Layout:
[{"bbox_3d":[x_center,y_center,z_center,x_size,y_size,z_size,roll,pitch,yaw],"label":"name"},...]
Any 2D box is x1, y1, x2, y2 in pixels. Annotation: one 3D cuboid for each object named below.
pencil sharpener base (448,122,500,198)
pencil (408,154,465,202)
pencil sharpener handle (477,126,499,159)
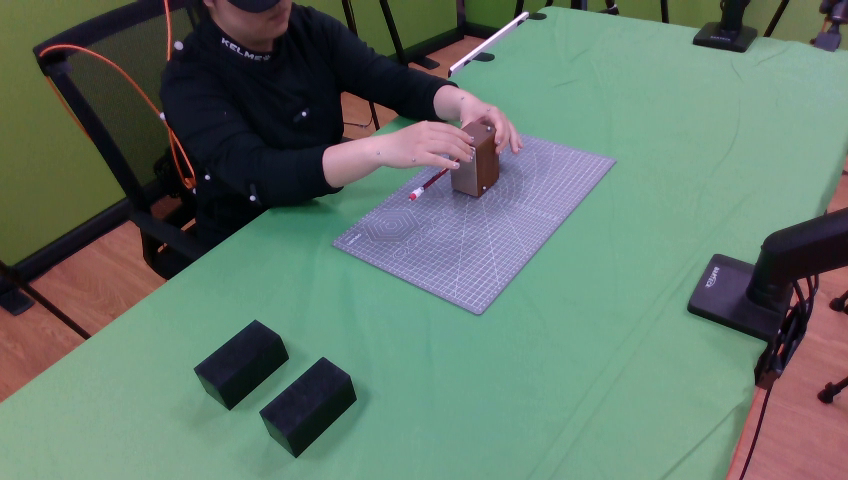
[{"bbox_3d":[0.089,-0.139,1.052,0.061,0.107,0.077,22,47,30],"label":"pencil sharpener base"},{"bbox_3d":[0.037,-0.116,0.987,0.012,0.012,0.194,23,48,31],"label":"pencil"},{"bbox_3d":[0.119,-0.177,1.073,0.035,0.068,0.031,19,47,32],"label":"pencil sharpener handle"}]
